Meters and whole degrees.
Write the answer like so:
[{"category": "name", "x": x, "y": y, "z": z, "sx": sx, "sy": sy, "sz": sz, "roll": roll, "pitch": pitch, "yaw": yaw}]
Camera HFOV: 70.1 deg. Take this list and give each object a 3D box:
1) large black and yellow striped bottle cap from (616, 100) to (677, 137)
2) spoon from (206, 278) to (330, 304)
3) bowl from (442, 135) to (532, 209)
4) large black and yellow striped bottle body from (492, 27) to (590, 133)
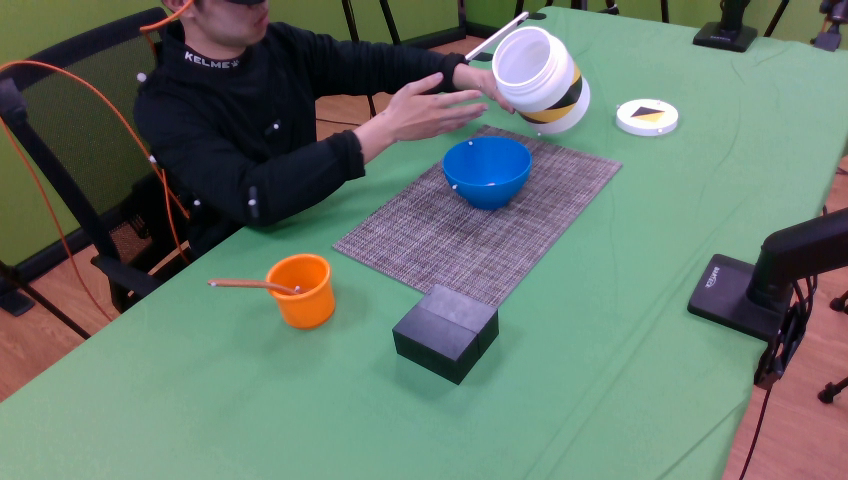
[{"category": "large black and yellow striped bottle cap", "x": 0.438, "y": -0.242, "z": 1.190, "sx": 0.115, "sy": 0.019, "sz": 0.114, "roll": -4, "pitch": 42, "yaw": 4}, {"category": "spoon", "x": -0.207, "y": 0.066, "z": 0.824, "sx": 0.041, "sy": 0.195, "sz": 0.021, "roll": 34, "pitch": 100, "yaw": 41}, {"category": "bowl", "x": 0.108, "y": -0.106, "z": 1.026, "sx": 0.151, "sy": 0.077, "sz": 0.150, "roll": -4, "pitch": 41, "yaw": 4}, {"category": "large black and yellow striped bottle body", "x": 0.208, "y": -0.282, "z": 1.076, "sx": 0.130, "sy": 0.185, "sz": 0.130, "roll": -9, "pitch": 71, "yaw": 29}]
